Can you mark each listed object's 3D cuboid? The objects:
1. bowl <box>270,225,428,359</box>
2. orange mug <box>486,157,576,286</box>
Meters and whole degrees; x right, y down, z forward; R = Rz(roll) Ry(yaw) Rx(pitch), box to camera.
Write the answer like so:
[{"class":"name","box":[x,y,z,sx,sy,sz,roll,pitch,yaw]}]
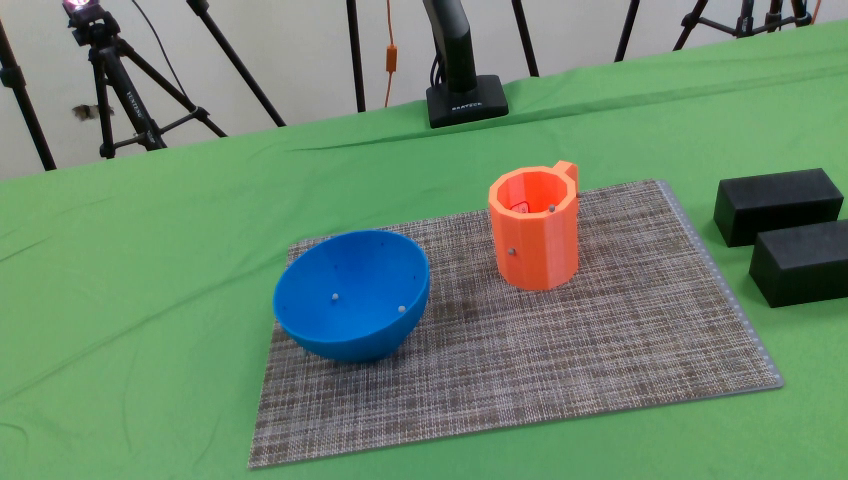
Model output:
[{"class":"bowl","box":[-0.064,0.063,0.590,0.151,0.077,0.150,-8,40,7]},{"class":"orange mug","box":[0.122,-0.028,0.628,0.083,0.102,0.126,21,55,34]}]
